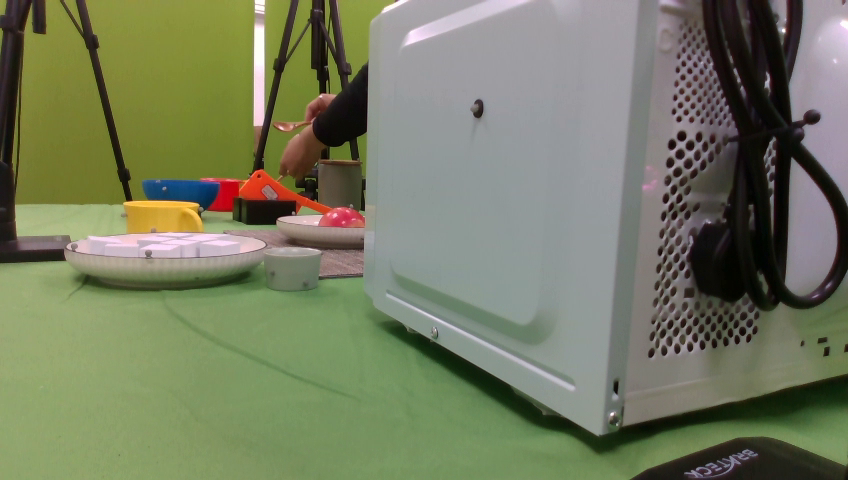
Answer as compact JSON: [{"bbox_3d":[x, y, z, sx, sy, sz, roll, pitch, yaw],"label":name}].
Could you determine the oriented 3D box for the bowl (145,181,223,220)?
[{"bbox_3d":[-0.499,-0.081,1.261,0.151,0.077,0.151,2,7,0],"label":"bowl"}]

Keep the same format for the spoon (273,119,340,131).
[{"bbox_3d":[-0.287,-0.291,1.504,0.195,0.021,0.041,-16,51,-38],"label":"spoon"}]

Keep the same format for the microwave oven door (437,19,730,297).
[{"bbox_3d":[0.180,-0.076,0.618,0.358,0.243,0.039,-2,9,-28],"label":"microwave oven door"}]

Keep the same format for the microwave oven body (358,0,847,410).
[{"bbox_3d":[0.210,-0.051,0.471,0.444,0.260,0.324,-1,7,-28],"label":"microwave oven body"}]

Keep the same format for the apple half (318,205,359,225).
[{"bbox_3d":[-0.126,-0.028,0.954,0.081,0.053,0.074,-2,11,-33],"label":"apple half"}]

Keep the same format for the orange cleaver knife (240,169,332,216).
[{"bbox_3d":[-0.287,-0.082,1.298,0.212,0.077,0.012,25,-2,-31],"label":"orange cleaver knife"}]

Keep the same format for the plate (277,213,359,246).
[{"bbox_3d":[-0.135,-0.018,0.994,0.209,0.038,0.209,2,7,0],"label":"plate"}]

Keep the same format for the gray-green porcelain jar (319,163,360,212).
[{"bbox_3d":[-0.205,-0.126,1.490,0.106,0.126,0.106,2,7,0],"label":"gray-green porcelain jar"}]

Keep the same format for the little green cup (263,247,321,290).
[{"bbox_3d":[-0.142,0.030,0.649,0.061,0.038,0.061,3,6,0],"label":"little green cup"}]

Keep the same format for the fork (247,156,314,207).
[{"bbox_3d":[-0.360,-0.147,1.522,0.207,0.018,0.028,-43,8,-7],"label":"fork"}]

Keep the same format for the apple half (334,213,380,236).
[{"bbox_3d":[-0.112,-0.029,1.034,0.081,0.033,0.081,0,10,0],"label":"apple half"}]

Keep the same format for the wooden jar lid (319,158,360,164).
[{"bbox_3d":[-0.202,-0.189,1.481,0.108,0.020,0.108,2,10,0],"label":"wooden jar lid"}]

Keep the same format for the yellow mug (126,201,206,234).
[{"bbox_3d":[-0.360,-0.019,0.866,0.130,0.064,0.100,6,9,27],"label":"yellow mug"}]

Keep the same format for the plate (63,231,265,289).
[{"bbox_3d":[-0.288,0.021,0.687,0.208,0.039,0.207,2,8,0],"label":"plate"}]

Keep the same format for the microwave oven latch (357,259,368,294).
[{"bbox_3d":[-0.019,0.031,0.529,0.079,0.029,0.030,-1,7,-27],"label":"microwave oven latch"}]
